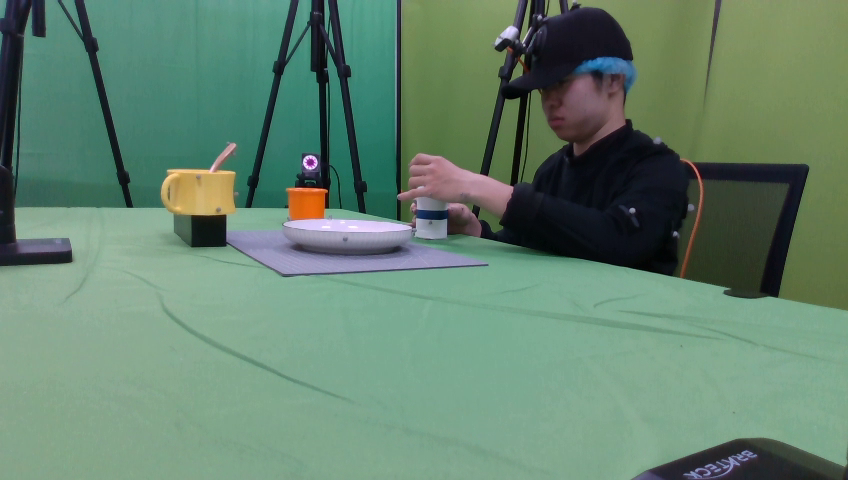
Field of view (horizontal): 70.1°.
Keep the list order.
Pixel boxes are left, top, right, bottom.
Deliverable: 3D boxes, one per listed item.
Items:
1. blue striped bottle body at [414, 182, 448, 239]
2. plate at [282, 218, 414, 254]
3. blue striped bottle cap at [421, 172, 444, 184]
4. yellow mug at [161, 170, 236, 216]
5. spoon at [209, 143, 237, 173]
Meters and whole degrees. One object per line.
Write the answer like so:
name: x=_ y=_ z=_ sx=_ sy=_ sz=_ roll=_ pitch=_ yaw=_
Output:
blue striped bottle body: x=0.014 y=-0.065 z=1.166 sx=0.063 sy=0.120 sz=0.063 roll=2 pitch=8 yaw=0
plate: x=-0.121 y=-0.007 z=0.971 sx=0.208 sy=0.039 sz=0.207 roll=2 pitch=7 yaw=0
blue striped bottle cap: x=0.016 y=-0.120 z=1.159 sx=0.044 sy=0.020 sz=0.044 roll=2 pitch=9 yaw=0
yellow mug: x=-0.354 y=-0.074 z=0.935 sx=0.099 sy=0.064 sz=0.131 roll=5 pitch=9 yaw=21
spoon: x=-0.341 y=-0.113 z=0.990 sx=0.041 sy=0.021 sz=0.193 roll=1 pitch=40 yaw=6
